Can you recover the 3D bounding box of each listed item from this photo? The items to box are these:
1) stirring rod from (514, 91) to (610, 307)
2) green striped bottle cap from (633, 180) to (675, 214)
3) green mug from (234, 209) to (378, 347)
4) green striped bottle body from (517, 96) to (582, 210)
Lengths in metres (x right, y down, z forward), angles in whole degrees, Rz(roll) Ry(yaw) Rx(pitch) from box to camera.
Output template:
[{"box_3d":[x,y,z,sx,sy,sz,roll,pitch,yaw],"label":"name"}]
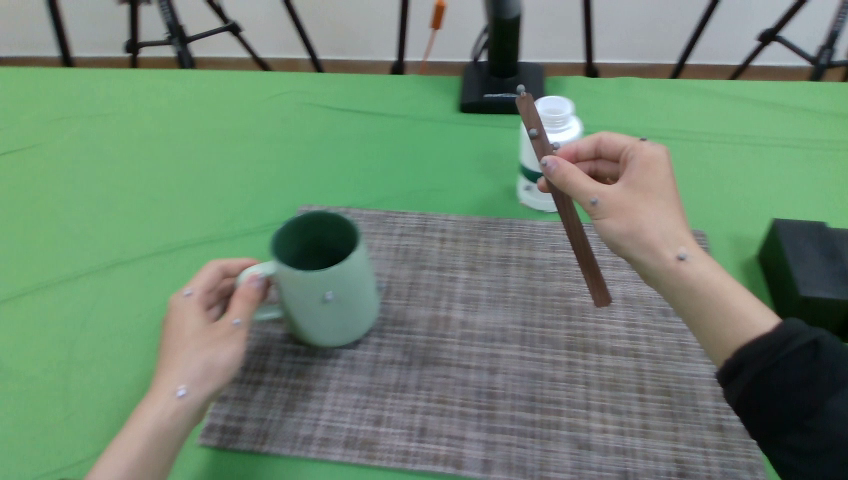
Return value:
[{"box_3d":[0.105,-0.032,0.466,0.014,0.006,0.176,-21,87,9],"label":"stirring rod"},{"box_3d":[0.260,-0.049,0.684,0.044,0.020,0.044,-2,41,2],"label":"green striped bottle cap"},{"box_3d":[-0.107,0.040,0.547,0.125,0.106,0.091,-16,47,-12],"label":"green mug"},{"box_3d":[0.137,-0.096,0.665,0.063,0.120,0.062,-1,45,2],"label":"green striped bottle body"}]
